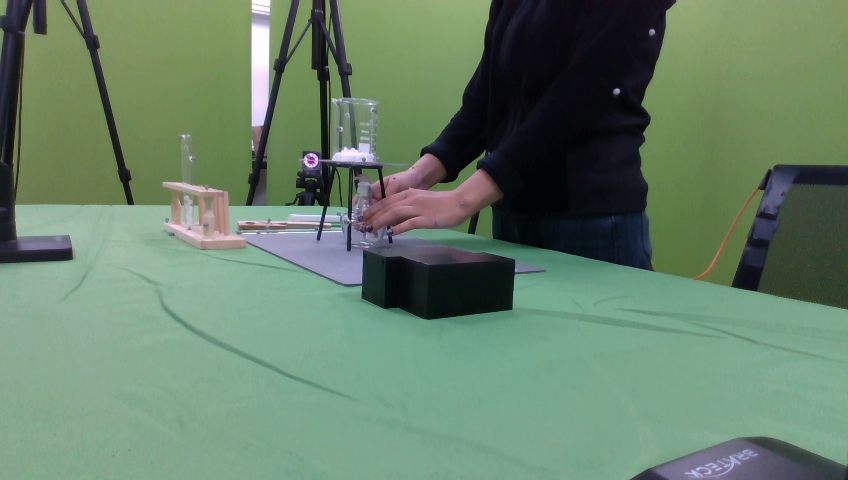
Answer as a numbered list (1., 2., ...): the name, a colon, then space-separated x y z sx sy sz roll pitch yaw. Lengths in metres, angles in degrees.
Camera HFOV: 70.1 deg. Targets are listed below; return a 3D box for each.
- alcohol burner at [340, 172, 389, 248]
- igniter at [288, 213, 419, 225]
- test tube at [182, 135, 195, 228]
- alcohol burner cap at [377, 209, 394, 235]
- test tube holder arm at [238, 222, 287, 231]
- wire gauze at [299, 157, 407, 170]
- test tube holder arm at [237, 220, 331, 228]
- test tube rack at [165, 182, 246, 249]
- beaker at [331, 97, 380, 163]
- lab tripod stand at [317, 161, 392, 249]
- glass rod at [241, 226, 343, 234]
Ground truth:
1. alcohol burner: -0.094 -0.047 0.956 0.078 0.119 0.078 1 9 0
2. igniter: -0.145 -0.044 1.278 0.278 0.025 0.057 -1 -2 -21
3. test tube: -0.382 -0.095 0.983 0.017 0.150 0.017 -1 2 0
4. alcohol burner cap: -0.072 -0.035 1.145 0.034 0.048 0.034 3 8 0
5. test tube holder arm: -0.296 -0.024 1.113 0.088 0.015 0.010 -1 41 -32
6. wire gauze: -0.112 -0.124 0.959 0.121 0.011 0.126 13 12 40
7. test tube holder arm: -0.260 -0.029 1.140 0.179 0.015 0.013 -2 41 -32
8. test tube rack: -0.360 -0.045 0.982 0.067 0.085 0.241 -3 9 -34
9. beaker: -0.111 -0.171 0.950 0.073 0.100 0.084 12 12 42
10. lab tripod stand: -0.111 -0.059 0.963 0.148 0.131 0.148 4 8 0
11. glass rod: -0.239 -0.019 1.119 0.201 0.008 0.008 -3 9 -34
